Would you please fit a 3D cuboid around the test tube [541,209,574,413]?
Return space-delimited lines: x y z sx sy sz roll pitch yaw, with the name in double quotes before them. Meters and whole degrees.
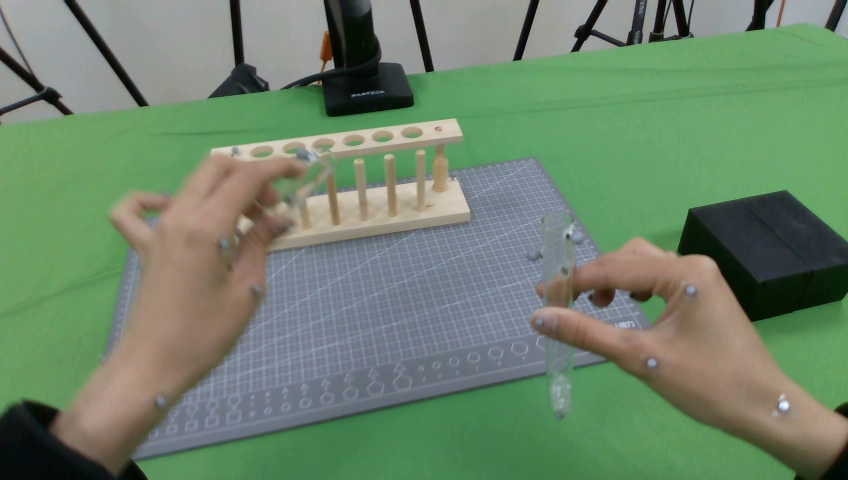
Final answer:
"test tube" 0.073 0.046 0.331 0.017 0.152 0.017 -6 39 5

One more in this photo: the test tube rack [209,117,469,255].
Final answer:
"test tube rack" -0.080 -0.055 0.605 0.243 0.086 0.066 -9 41 -6

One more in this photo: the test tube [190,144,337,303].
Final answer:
"test tube" -0.101 -0.005 0.365 0.017 0.150 0.017 34 33 -25
